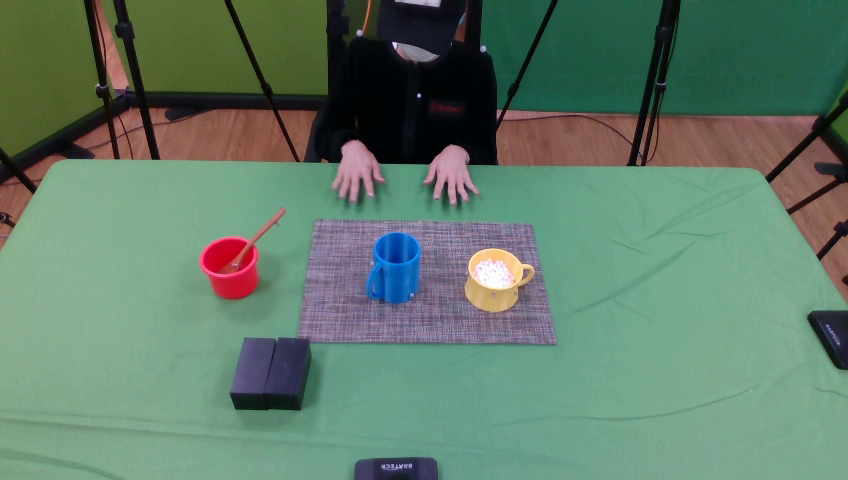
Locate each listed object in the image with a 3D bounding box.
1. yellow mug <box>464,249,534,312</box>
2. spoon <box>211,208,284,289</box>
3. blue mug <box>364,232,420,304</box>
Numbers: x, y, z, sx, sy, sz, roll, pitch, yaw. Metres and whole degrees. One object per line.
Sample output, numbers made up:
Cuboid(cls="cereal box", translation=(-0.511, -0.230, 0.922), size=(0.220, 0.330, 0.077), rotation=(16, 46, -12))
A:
Cuboid(cls="yellow mug", translation=(0.141, 0.070, 1.106), size=(0.131, 0.064, 0.099), rotation=(-9, 47, -14))
Cuboid(cls="spoon", translation=(-0.313, 0.015, 1.076), size=(0.194, 0.022, 0.041), rotation=(-48, 54, 12))
Cuboid(cls="blue mug", translation=(-0.062, 0.059, 1.073), size=(0.082, 0.106, 0.116), rotation=(35, 53, 27))
